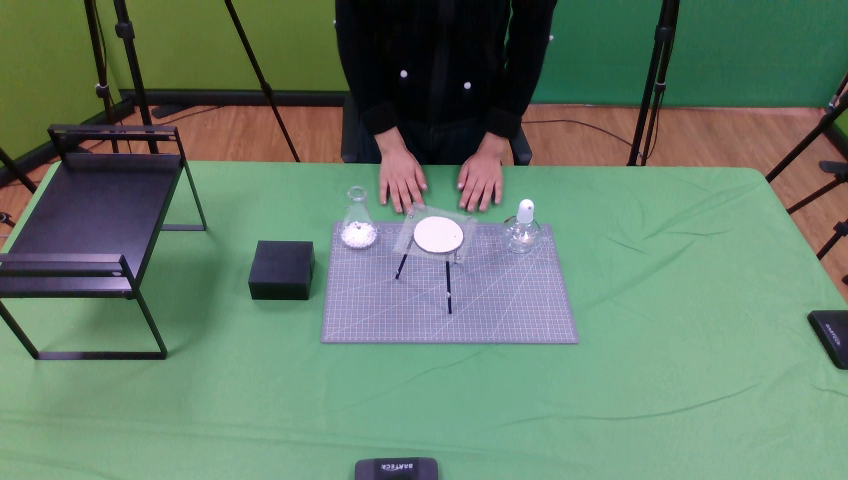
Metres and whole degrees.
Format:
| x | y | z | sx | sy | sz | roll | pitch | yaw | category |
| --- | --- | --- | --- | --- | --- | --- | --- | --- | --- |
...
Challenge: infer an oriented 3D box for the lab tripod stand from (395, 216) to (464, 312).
| x | y | z | sx | sy | sz | roll | pitch | yaw | category |
| --- | --- | --- | --- | --- | --- | --- | --- | --- | --- |
| 0.023 | 0.036 | 1.084 | 0.148 | 0.132 | 0.147 | 4 | 46 | -4 | lab tripod stand |

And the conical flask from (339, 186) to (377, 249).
| x | y | z | sx | sy | sz | roll | pitch | yaw | category |
| --- | --- | --- | --- | --- | --- | --- | --- | --- | --- |
| -0.128 | -0.047 | 1.160 | 0.075 | 0.122 | 0.075 | 2 | 46 | -2 | conical flask |

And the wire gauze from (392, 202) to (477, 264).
| x | y | z | sx | sy | sz | roll | pitch | yaw | category |
| --- | --- | --- | --- | --- | --- | --- | --- | --- | --- |
| 0.021 | -0.011 | 1.037 | 0.121 | 0.011 | 0.124 | 13 | 47 | 8 | wire gauze |

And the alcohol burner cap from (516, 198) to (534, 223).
| x | y | z | sx | sy | sz | roll | pitch | yaw | category |
| --- | --- | --- | --- | --- | --- | --- | --- | --- | --- |
| 0.194 | -0.059 | 1.152 | 0.034 | 0.048 | 0.033 | 0 | 50 | 1 | alcohol burner cap |

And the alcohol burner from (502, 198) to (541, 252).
| x | y | z | sx | sy | sz | roll | pitch | yaw | category |
| --- | --- | --- | --- | --- | --- | --- | --- | --- | --- |
| 0.192 | -0.033 | 1.178 | 0.078 | 0.119 | 0.077 | 2 | 44 | -2 | alcohol burner |
